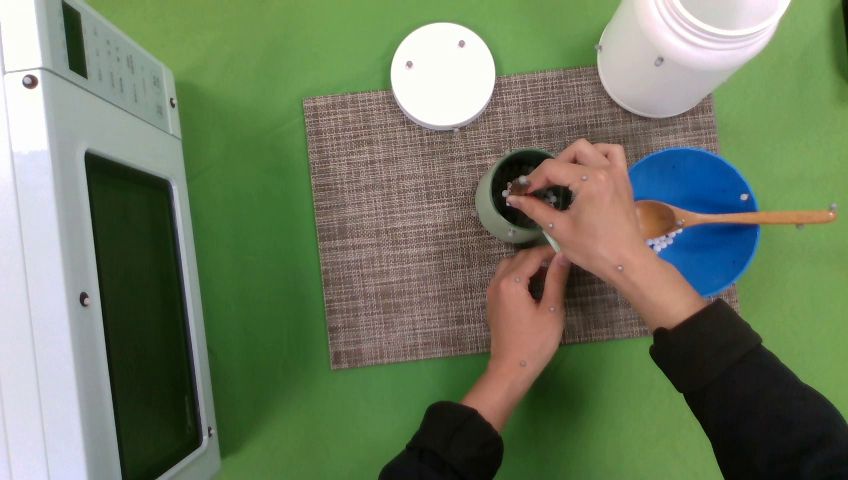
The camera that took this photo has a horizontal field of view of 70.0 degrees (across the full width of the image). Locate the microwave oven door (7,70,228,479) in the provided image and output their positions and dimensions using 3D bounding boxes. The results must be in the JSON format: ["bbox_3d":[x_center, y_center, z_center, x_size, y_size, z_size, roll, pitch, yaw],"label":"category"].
[{"bbox_3d":[-0.253,0.061,0.533,0.039,0.244,0.355,-9,88,1],"label":"microwave oven door"}]

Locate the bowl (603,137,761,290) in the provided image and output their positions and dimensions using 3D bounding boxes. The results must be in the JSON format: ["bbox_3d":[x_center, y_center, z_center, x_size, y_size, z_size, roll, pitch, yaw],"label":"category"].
[{"bbox_3d":[0.252,-0.024,0.626,0.151,0.077,0.151,0,88,1],"label":"bowl"}]

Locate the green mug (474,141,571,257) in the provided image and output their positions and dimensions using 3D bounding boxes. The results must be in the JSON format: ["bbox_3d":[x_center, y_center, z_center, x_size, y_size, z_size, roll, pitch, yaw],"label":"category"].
[{"bbox_3d":[0.108,-0.037,0.615,0.092,0.105,0.125,-34,88,-1],"label":"green mug"}]

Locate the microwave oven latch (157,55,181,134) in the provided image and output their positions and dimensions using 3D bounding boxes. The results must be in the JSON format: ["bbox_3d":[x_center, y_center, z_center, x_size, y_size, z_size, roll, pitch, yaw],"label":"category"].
[{"bbox_3d":[-0.280,-0.152,0.639,0.030,0.029,0.079,-9,89,0],"label":"microwave oven latch"}]

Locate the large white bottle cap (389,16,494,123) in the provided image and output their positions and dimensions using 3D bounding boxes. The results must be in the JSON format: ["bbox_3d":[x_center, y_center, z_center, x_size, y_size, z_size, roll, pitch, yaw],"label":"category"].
[{"bbox_3d":[0.019,-0.186,0.662,0.115,0.018,0.114,0,88,0],"label":"large white bottle cap"}]

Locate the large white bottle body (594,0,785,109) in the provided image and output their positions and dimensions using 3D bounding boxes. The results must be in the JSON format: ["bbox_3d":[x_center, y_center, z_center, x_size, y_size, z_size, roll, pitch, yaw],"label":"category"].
[{"bbox_3d":[0.248,-0.214,0.578,0.130,0.185,0.130,0,84,1],"label":"large white bottle body"}]

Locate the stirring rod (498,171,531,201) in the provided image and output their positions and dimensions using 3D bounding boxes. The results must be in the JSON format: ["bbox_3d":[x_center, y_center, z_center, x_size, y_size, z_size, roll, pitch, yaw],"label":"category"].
[{"bbox_3d":[0.082,-0.048,0.568,0.014,0.176,0.006,8,88,3],"label":"stirring rod"}]

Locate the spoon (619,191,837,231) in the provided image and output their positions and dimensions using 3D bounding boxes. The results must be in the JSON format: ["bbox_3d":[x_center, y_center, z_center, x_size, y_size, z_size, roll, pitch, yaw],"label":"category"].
[{"bbox_3d":[0.294,-0.030,0.598,0.193,0.022,0.041,0,92,24],"label":"spoon"}]

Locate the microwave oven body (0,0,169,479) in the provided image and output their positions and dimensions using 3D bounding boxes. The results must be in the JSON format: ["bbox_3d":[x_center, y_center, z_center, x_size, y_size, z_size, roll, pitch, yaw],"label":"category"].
[{"bbox_3d":[-0.404,0.040,0.539,0.326,0.260,0.441,-8,89,0],"label":"microwave oven body"}]
